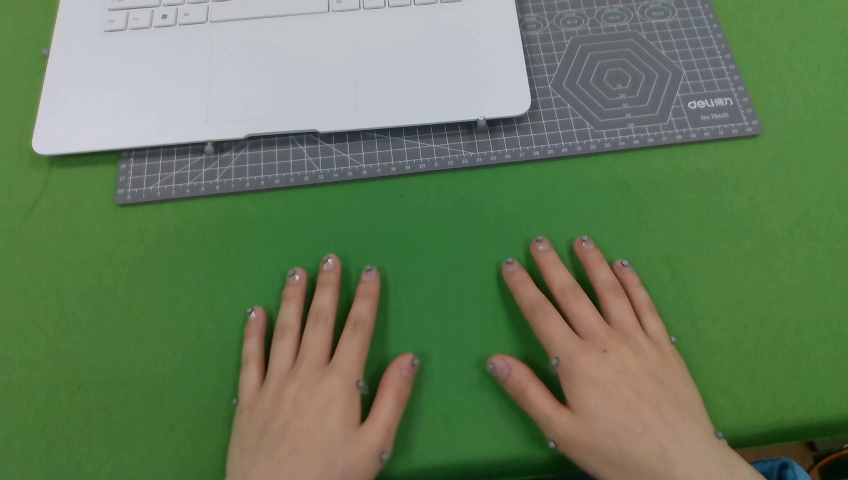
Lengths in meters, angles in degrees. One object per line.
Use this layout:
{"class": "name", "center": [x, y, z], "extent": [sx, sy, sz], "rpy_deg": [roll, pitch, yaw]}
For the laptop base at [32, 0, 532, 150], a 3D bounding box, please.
{"class": "laptop base", "center": [-0.108, -0.182, 0.470], "extent": [0.354, 0.023, 0.234], "rpy_deg": [-5, 70, 0]}
